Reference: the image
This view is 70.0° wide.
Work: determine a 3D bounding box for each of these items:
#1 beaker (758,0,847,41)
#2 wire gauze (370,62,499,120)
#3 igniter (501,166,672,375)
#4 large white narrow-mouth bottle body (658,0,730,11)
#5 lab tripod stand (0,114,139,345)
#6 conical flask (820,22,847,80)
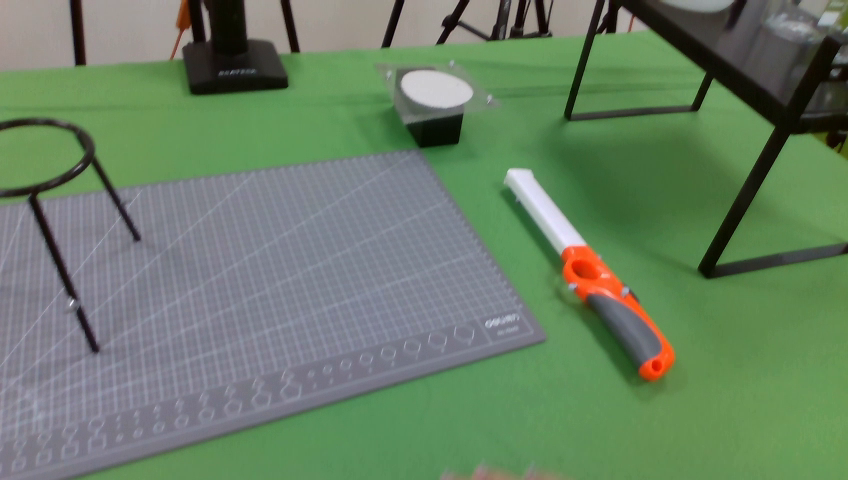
[{"bbox_3d":[0.380,-0.254,0.589,0.084,0.101,0.073,-14,46,-21],"label":"beaker"},{"bbox_3d":[0.010,-0.181,0.713,0.122,0.011,0.123,-9,45,-21],"label":"wire gauze"},{"bbox_3d":[0.146,0.015,0.576,0.057,0.025,0.273,-1,42,-27],"label":"igniter"},{"bbox_3d":[0.292,-0.338,0.596,0.102,0.196,0.101,5,42,-4],"label":"large white narrow-mouth bottle body"},{"bbox_3d":[-0.278,-0.012,0.450,0.148,0.132,0.147,6,42,-5],"label":"lab tripod stand"},{"bbox_3d":[0.404,-0.198,0.514,0.075,0.123,0.074,5,42,-4],"label":"conical flask"}]
